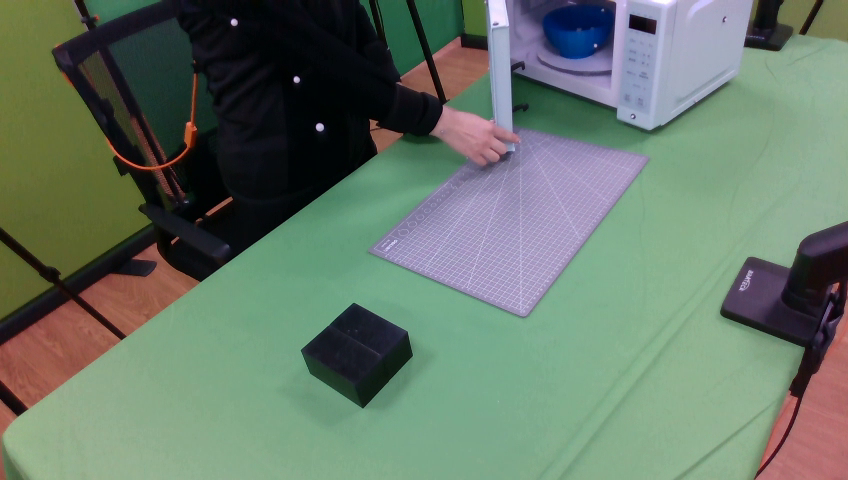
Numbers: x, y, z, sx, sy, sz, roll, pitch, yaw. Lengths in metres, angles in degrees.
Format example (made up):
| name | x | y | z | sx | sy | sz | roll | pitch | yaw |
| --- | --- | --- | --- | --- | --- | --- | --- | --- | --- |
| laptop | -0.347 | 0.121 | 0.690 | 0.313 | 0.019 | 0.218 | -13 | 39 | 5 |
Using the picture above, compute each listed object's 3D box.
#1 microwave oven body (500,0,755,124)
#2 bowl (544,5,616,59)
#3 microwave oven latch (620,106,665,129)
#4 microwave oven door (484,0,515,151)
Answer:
| name | x | y | z | sx | sy | sz | roll | pitch | yaw |
| --- | --- | --- | --- | --- | --- | --- | --- | --- | --- |
| microwave oven body | 0.402 | -0.458 | 1.259 | 0.327 | 0.261 | 0.437 | -33 | 45 | -24 |
| bowl | 0.332 | -0.441 | 1.302 | 0.151 | 0.077 | 0.150 | -3 | 39 | 3 |
| microwave oven latch | 0.413 | -0.237 | 1.146 | 0.030 | 0.029 | 0.078 | -32 | 44 | -23 |
| microwave oven door | 0.147 | -0.373 | 1.201 | 0.039 | 0.245 | 0.354 | -4 | 40 | 7 |
